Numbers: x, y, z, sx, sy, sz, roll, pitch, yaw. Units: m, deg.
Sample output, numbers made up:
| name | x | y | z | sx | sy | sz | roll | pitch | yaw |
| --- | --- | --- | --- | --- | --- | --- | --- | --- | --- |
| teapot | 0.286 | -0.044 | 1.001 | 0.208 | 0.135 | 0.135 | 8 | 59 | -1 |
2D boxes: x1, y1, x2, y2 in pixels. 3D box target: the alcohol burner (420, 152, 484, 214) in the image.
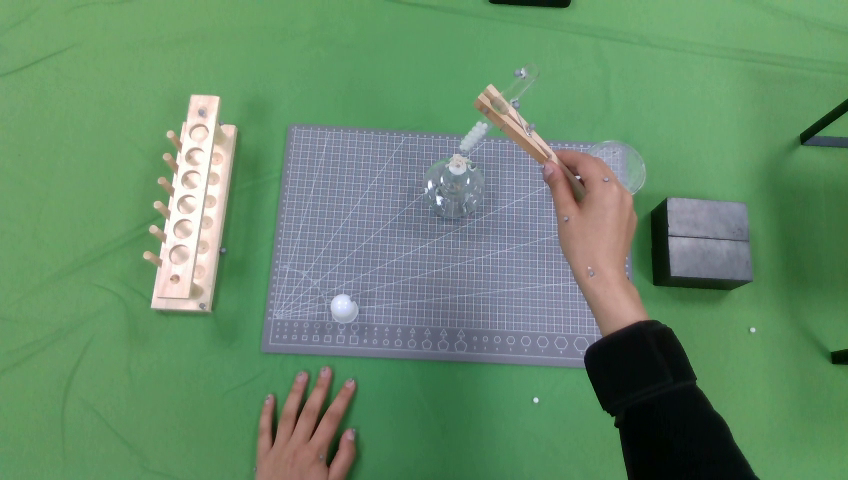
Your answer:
| name | x | y | z | sx | sy | sz | roll | pitch | yaw |
| --- | --- | --- | --- | --- | --- | --- | --- | --- | --- |
| alcohol burner | 0.035 | -0.075 | 0.725 | 0.078 | 0.119 | 0.077 | 0 | 74 | -1 |

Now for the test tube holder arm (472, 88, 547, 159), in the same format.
| name | x | y | z | sx | sy | sz | roll | pitch | yaw |
| --- | --- | --- | --- | --- | --- | --- | --- | --- | --- |
| test tube holder arm | 0.082 | -0.109 | 0.571 | 0.088 | 0.015 | 0.010 | 39 | 65 | -6 |

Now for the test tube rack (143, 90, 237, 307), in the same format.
| name | x | y | z | sx | sy | sz | roll | pitch | yaw |
| --- | --- | --- | --- | --- | --- | --- | --- | --- | --- |
| test tube rack | -0.281 | -0.049 | 0.716 | 0.067 | 0.085 | 0.241 | 3 | 74 | -2 |

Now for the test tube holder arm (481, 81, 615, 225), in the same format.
| name | x | y | z | sx | sy | sz | roll | pitch | yaw |
| --- | --- | --- | --- | --- | --- | --- | --- | --- | --- |
| test tube holder arm | 0.118 | -0.082 | 0.576 | 0.178 | 0.015 | 0.013 | 45 | 65 | -3 |

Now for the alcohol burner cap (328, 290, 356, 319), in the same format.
| name | x | y | z | sx | sy | sz | roll | pitch | yaw |
| --- | --- | --- | --- | --- | --- | --- | --- | --- | --- |
| alcohol burner cap | -0.098 | 0.074 | 0.712 | 0.034 | 0.048 | 0.033 | 1 | 75 | -4 |

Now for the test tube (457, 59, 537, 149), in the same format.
| name | x | y | z | sx | sy | sz | roll | pitch | yaw |
| --- | --- | --- | --- | --- | --- | --- | --- | --- | --- |
| test tube | 0.065 | -0.125 | 0.578 | 0.017 | 0.150 | 0.017 | 7 | 70 | -18 |

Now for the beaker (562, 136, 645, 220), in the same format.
| name | x | y | z | sx | sy | sz | roll | pitch | yaw |
| --- | --- | --- | --- | --- | --- | --- | --- | --- | --- |
| beaker | 0.212 | -0.072 | 0.742 | 0.084 | 0.101 | 0.073 | 1 | 73 | -1 |
